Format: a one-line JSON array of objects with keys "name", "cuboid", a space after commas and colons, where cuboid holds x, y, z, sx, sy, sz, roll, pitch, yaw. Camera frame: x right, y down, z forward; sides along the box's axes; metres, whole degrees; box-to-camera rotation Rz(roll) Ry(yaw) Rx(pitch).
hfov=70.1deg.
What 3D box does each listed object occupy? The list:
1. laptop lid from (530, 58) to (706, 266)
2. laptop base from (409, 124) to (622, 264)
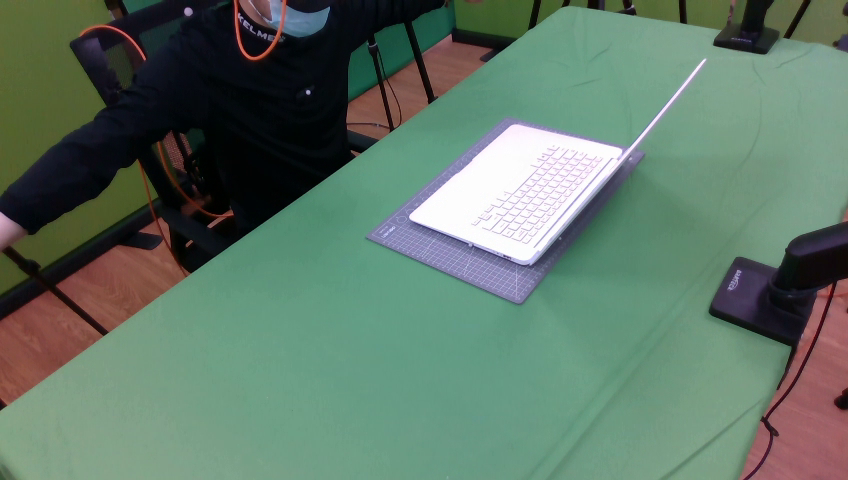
[{"name": "laptop lid", "cuboid": [0.293, -0.118, 0.905, 0.013, 0.241, 0.357, 40, 53, 9]}, {"name": "laptop base", "cuboid": [0.168, -0.095, 1.057, 0.233, 0.023, 0.355, 20, 47, 32]}]
